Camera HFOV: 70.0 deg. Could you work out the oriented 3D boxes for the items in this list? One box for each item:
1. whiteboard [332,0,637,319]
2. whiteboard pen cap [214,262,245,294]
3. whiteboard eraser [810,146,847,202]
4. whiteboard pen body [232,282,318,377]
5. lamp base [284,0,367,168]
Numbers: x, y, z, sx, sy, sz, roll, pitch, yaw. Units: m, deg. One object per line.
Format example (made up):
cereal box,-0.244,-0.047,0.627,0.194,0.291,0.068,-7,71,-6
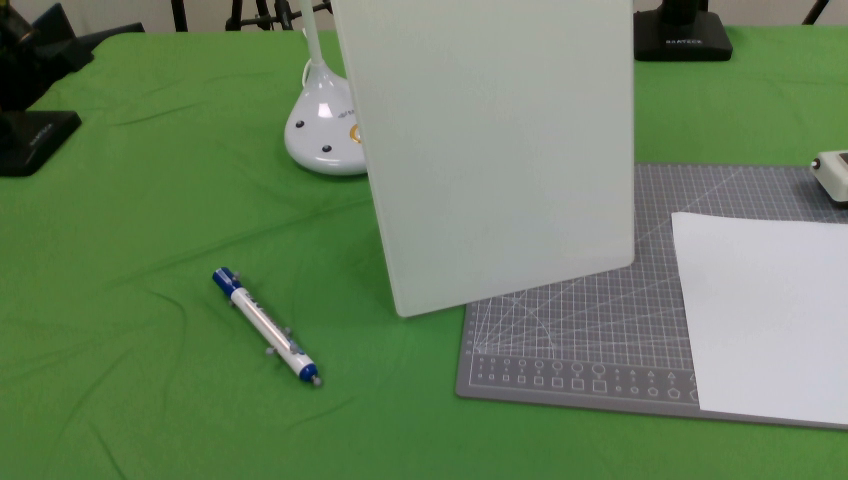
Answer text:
whiteboard,0.049,-0.119,0.521,0.217,0.308,0.142,-12,26,-5
whiteboard pen cap,-0.174,0.036,0.546,0.018,0.018,0.033,-35,57,-25
whiteboard eraser,0.431,-0.063,0.567,0.112,0.042,0.055,-4,46,3
whiteboard pen body,-0.135,0.067,0.516,0.017,0.017,0.139,-35,55,-25
lamp base,-0.098,-0.197,0.662,0.160,0.182,0.177,-33,48,-24
